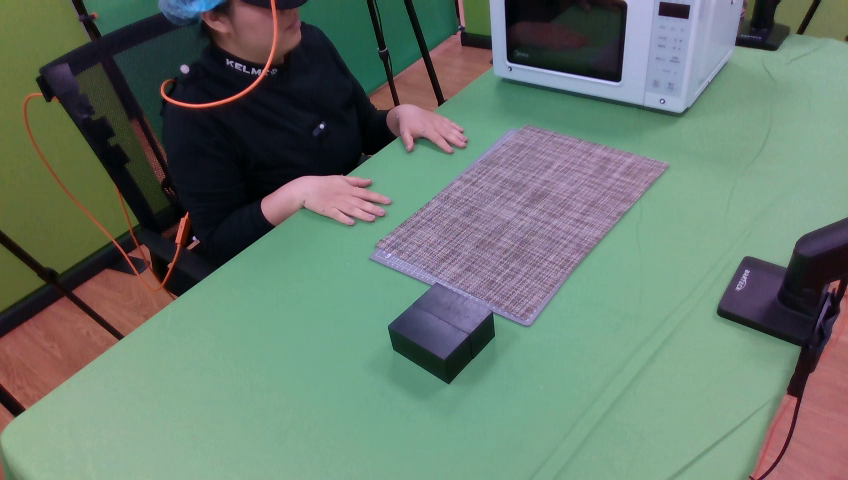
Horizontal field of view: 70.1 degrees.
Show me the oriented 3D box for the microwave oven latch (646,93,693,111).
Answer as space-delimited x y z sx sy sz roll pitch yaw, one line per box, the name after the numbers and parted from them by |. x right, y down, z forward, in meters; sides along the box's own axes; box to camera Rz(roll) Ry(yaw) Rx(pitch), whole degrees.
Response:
0.477 -0.273 1.177 0.078 0.029 0.030 22 50 33 | microwave oven latch

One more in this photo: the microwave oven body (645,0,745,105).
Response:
0.416 -0.486 1.290 0.438 0.261 0.327 21 50 33 | microwave oven body

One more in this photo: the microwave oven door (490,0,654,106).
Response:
0.292 -0.420 1.228 0.353 0.245 0.039 22 49 32 | microwave oven door

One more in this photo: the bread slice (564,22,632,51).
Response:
0.394 -0.453 1.344 0.105 0.019 0.130 -36 42 -26 | bread slice

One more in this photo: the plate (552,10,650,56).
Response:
0.390 -0.455 1.339 0.209 0.038 0.208 -5 39 5 | plate
